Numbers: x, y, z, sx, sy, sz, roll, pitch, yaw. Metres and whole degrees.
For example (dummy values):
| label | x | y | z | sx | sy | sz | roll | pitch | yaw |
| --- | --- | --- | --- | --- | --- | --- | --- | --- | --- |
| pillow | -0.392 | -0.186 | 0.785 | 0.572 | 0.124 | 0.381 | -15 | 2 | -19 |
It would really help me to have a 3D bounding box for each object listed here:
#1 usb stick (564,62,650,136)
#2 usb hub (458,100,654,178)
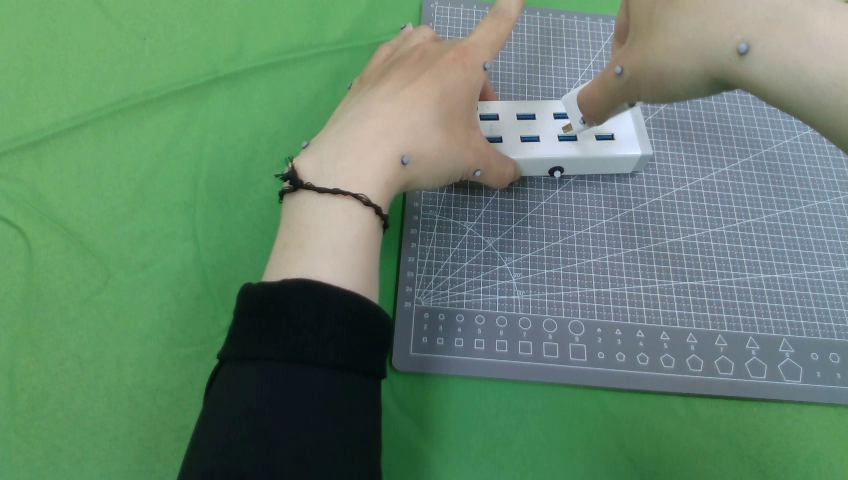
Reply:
| label | x | y | z | sx | sy | sz | roll | pitch | yaw |
| --- | --- | --- | --- | --- | --- | --- | --- | --- | --- |
| usb stick | 0.106 | -0.082 | 0.370 | 0.021 | 0.059 | 0.027 | -30 | 89 | -28 |
| usb hub | 0.087 | -0.070 | 0.410 | 0.125 | 0.025 | 0.049 | -2 | 64 | -6 |
